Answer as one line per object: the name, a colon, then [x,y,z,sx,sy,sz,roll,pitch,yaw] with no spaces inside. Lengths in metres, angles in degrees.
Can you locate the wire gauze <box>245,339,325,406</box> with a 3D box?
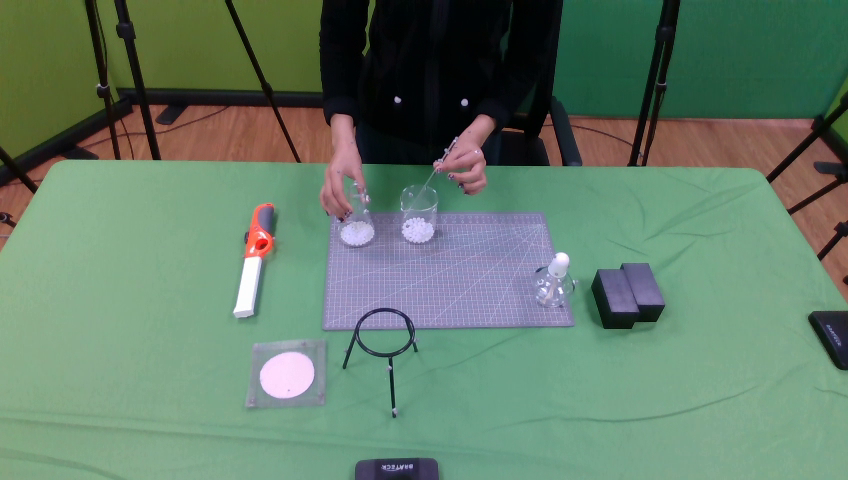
wire gauze: [-0.224,0.214,0.984,0.125,0.011,0.120,-2,46,-5]

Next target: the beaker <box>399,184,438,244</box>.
beaker: [-0.014,-0.046,1.186,0.073,0.101,0.084,36,54,27]

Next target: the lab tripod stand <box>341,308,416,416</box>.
lab tripod stand: [-0.061,0.177,0.946,0.148,0.132,0.147,2,44,-2]

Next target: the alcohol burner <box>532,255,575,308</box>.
alcohol burner: [0.235,0.066,1.087,0.078,0.119,0.077,4,45,-3]

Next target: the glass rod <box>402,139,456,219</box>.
glass rod: [0.007,-0.113,1.143,0.008,0.200,0.008,25,33,-17]

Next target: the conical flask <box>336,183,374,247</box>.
conical flask: [-0.132,-0.051,1.164,0.075,0.122,0.075,4,45,-3]

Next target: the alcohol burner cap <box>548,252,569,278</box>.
alcohol burner cap: [0.238,0.042,1.060,0.034,0.048,0.033,1,53,-1]

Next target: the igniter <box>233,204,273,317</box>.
igniter: [-0.321,0.029,1.142,0.057,0.025,0.274,-7,46,4]
